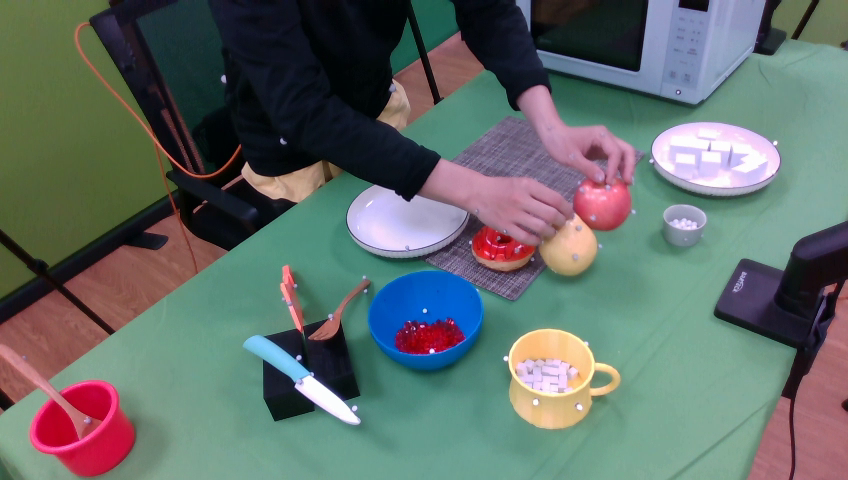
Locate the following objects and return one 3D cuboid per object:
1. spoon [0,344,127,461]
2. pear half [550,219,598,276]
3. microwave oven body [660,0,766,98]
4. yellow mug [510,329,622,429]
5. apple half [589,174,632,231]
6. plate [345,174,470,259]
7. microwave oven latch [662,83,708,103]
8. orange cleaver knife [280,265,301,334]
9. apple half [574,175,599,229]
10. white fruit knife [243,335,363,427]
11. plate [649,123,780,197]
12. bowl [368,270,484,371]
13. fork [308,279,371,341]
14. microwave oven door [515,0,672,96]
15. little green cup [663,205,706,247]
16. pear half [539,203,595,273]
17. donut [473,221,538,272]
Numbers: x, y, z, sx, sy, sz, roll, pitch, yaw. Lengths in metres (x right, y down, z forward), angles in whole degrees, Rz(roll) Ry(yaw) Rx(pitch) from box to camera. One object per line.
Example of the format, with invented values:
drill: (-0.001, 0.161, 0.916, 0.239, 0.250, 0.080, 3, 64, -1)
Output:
spoon: (-0.433, 0.191, 0.720, 0.194, 0.021, 0.042, 47, 52, -6)
pear half: (0.206, 0.015, 0.806, 0.071, 0.088, 0.031, -20, 39, -17)
microwave oven body: (0.472, -0.513, 1.317, 0.438, 0.261, 0.327, 26, 51, 34)
yellow mug: (0.168, 0.164, 0.721, 0.130, 0.064, 0.099, 1, 40, 8)
apple half: (0.272, -0.051, 0.870, 0.053, 0.075, 0.081, 9, 34, 23)
plate: (-0.026, -0.037, 1.004, 0.209, 0.038, 0.208, -4, 40, 4)
microwave oven latch: (0.518, -0.296, 1.204, 0.078, 0.029, 0.030, 28, 52, 35)
orange cleaver knife: (-0.188, 0.081, 0.862, 0.012, 0.077, 0.210, -19, 12, -9)
apple half: (0.236, -0.055, 0.885, 0.032, 0.081, 0.081, 9, 43, 24)
white fruit knife: (-0.148, 0.167, 0.729, 0.206, 0.016, 0.027, 27, 79, 31)
plate: (0.497, -0.135, 1.046, 0.207, 0.039, 0.206, -4, 40, 4)
bowl: (0.006, 0.118, 0.791, 0.151, 0.077, 0.150, -5, 40, 4)
fork: (-0.109, 0.093, 0.832, 0.028, 0.018, 0.207, -3, 20, 15)
microwave oven door: (0.343, -0.454, 1.259, 0.353, 0.245, 0.039, 26, 51, 33)
little green cup: (0.396, -0.020, 0.926, 0.061, 0.039, 0.061, -4, 40, 4)
pear half: (0.190, -0.012, 0.826, 0.076, 0.110, 0.055, -21, 39, -14)
donut: (0.123, 0.009, 0.924, 0.099, 0.048, 0.098, -4, 39, 4)
